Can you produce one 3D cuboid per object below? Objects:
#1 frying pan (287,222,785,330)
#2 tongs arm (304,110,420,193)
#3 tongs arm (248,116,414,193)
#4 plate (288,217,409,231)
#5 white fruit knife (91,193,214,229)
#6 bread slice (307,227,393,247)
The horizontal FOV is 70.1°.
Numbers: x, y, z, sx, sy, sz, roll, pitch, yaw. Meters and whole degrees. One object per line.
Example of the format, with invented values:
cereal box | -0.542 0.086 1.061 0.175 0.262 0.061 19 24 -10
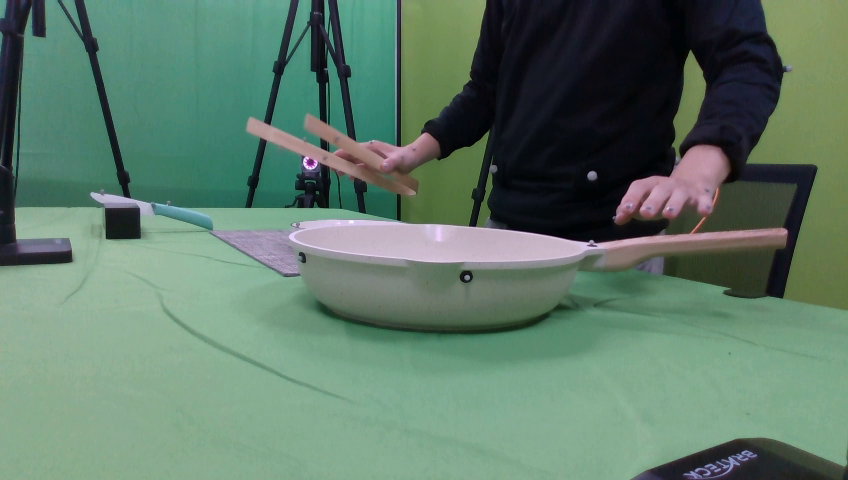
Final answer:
frying pan | 0.114 0.016 0.606 0.488 0.102 0.307 -6 8 3
tongs arm | -0.093 -0.145 1.068 0.028 0.027 0.389 -2 -12 26
tongs arm | -0.150 -0.147 1.106 0.050 0.026 0.387 0 -12 36
plate | -0.109 -0.007 0.956 0.208 0.039 0.207 2 7 0
white fruit knife | -0.478 -0.055 1.078 0.208 0.027 0.016 14 0 -30
bread slice | -0.115 -0.005 0.950 0.134 0.018 0.107 3 6 -7
